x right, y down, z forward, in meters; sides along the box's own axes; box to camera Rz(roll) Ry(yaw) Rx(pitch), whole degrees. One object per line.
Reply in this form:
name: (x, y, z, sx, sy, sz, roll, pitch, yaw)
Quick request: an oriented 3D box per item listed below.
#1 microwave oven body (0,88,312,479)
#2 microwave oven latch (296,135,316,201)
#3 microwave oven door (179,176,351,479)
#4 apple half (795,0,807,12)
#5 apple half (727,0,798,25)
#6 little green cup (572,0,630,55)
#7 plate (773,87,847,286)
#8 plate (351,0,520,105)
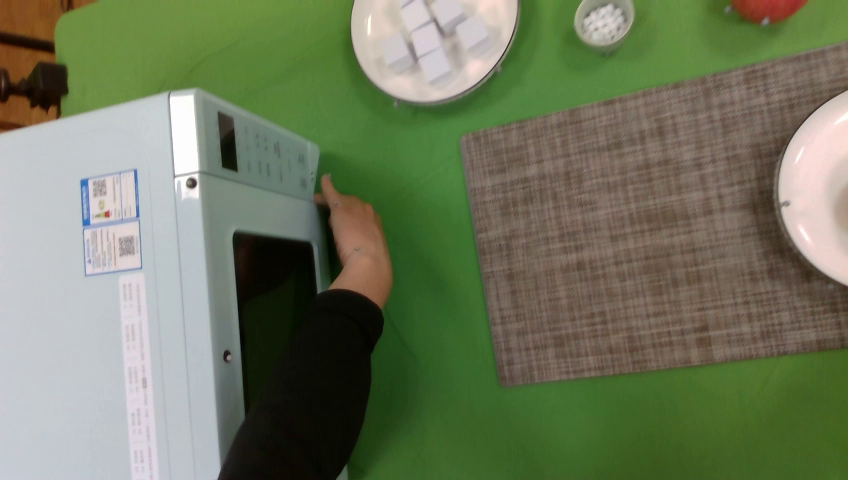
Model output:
microwave oven body: (-0.298, 0.102, 0.689, 0.325, 0.261, 0.440, -8, 86, 16)
microwave oven latch: (-0.152, -0.089, 0.754, 0.030, 0.029, 0.079, 5, 89, 17)
microwave oven door: (-0.157, 0.125, 0.639, 0.039, 0.245, 0.355, -8, 85, 16)
apple half: (0.370, -0.268, 0.602, 0.033, 0.081, 0.081, -20, 81, 20)
apple half: (0.335, -0.255, 0.613, 0.053, 0.075, 0.080, -20, 85, 20)
little green cup: (0.197, -0.237, 0.673, 0.061, 0.039, 0.061, -1, 87, 18)
plate: (0.449, -0.051, 0.582, 0.208, 0.038, 0.208, -1, 87, 17)
plate: (0.014, -0.262, 0.730, 0.207, 0.039, 0.207, -1, 87, 17)
